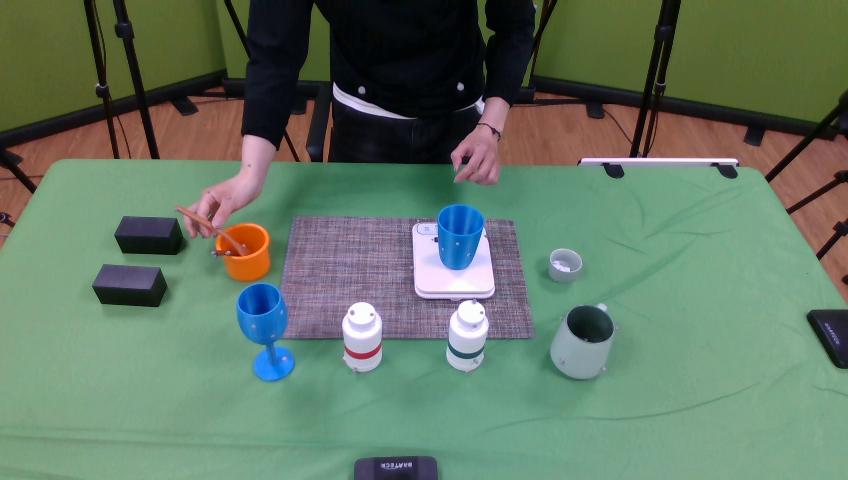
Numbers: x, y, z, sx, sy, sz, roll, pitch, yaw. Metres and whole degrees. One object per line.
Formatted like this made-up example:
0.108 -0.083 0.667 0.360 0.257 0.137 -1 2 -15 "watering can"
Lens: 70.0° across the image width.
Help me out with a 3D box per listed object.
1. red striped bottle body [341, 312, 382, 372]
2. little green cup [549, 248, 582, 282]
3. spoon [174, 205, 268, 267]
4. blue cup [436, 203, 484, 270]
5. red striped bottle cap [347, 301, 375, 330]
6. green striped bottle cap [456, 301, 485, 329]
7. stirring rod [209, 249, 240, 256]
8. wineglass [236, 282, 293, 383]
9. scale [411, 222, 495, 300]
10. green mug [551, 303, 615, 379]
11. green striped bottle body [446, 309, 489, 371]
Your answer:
-0.100 0.154 0.972 0.063 0.120 0.062 2 46 -1 "red striped bottle body"
0.268 0.050 1.156 0.061 0.039 0.061 1 46 -1 "little green cup"
-0.360 -0.008 1.085 0.021 0.195 0.041 -37 33 17 "spoon"
0.061 -0.001 1.099 0.093 0.101 0.092 2 44 -2 "blue cup"
-0.097 0.116 0.934 0.044 0.018 0.044 2 49 -2 "red striped bottle cap"
0.073 0.116 0.943 0.044 0.020 0.044 3 46 -3 "green striped bottle cap"
-0.343 0.022 1.060 0.014 0.176 0.006 21 87 -2 "stirring rod"
-0.243 0.143 0.934 0.074 0.173 0.073 2 46 -2 "wineglass"
0.052 0.031 1.158 0.149 0.032 0.199 1 46 -4 "scale"
0.271 0.157 1.007 0.092 0.105 0.125 27 50 21 "green mug"
0.070 0.155 0.984 0.063 0.120 0.063 2 46 -2 "green striped bottle body"
